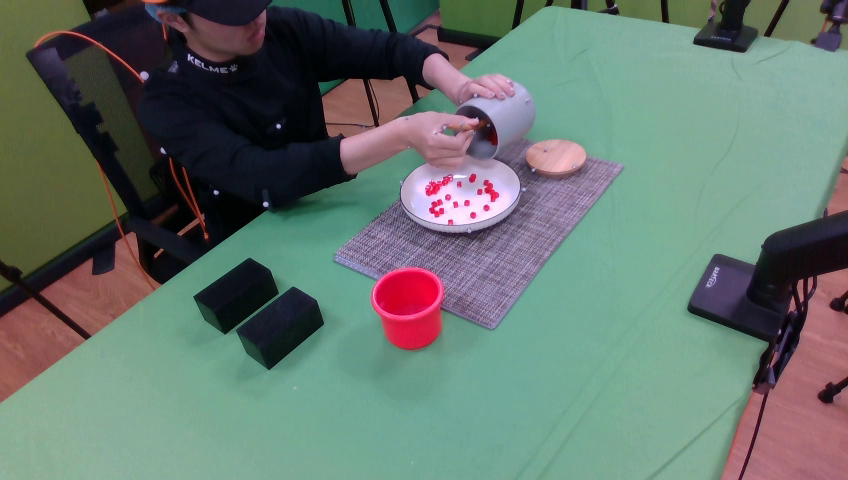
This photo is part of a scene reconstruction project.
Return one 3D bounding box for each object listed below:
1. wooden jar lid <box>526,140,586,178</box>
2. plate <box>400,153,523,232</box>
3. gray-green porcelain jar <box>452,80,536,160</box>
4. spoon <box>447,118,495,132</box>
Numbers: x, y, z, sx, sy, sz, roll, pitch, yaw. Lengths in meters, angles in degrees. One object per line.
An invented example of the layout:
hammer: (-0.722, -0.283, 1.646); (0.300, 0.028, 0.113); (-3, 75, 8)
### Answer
wooden jar lid: (0.240, -0.147, 1.103); (0.108, 0.021, 0.108); (-4, 42, 4)
plate: (0.064, -0.078, 1.034); (0.207, 0.039, 0.206); (-4, 41, 4)
gray-green porcelain jar: (0.127, -0.214, 1.062); (0.105, 0.106, 0.127); (26, 48, 33)
spoon: (0.090, -0.190, 1.010); (0.041, 0.021, 0.195); (7, 16, 30)
